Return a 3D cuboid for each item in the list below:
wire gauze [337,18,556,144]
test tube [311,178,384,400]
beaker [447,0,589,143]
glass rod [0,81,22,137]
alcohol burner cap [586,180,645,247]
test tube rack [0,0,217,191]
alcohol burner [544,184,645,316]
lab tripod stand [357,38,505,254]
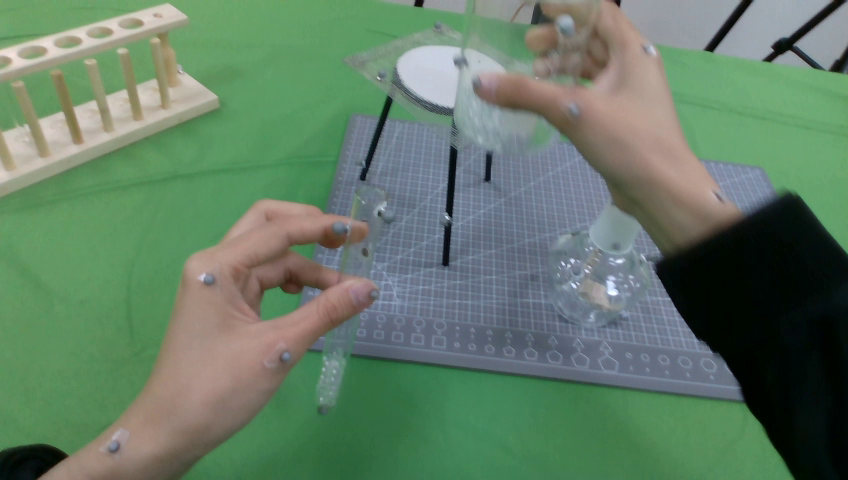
[{"bbox_3d":[0.018,-0.130,0.456,0.124,0.011,0.121,38,53,23],"label":"wire gauze"},{"bbox_3d":[-0.042,0.033,0.315,0.017,0.151,0.017,11,37,-8],"label":"test tube"},{"bbox_3d":[0.050,-0.114,0.349,0.084,0.101,0.073,-6,47,-11],"label":"beaker"},{"bbox_3d":[-0.353,-0.169,0.472,0.008,0.201,0.008,3,39,-2],"label":"glass rod"},{"bbox_3d":[0.138,-0.021,0.429,0.034,0.048,0.033,4,51,-5],"label":"alcohol burner cap"},{"bbox_3d":[-0.312,-0.129,0.533,0.066,0.086,0.242,37,52,24],"label":"test tube rack"},{"bbox_3d":[0.134,0.003,0.456,0.078,0.120,0.077,6,45,-6],"label":"alcohol burner"},{"bbox_3d":[0.013,-0.084,0.505,0.148,0.132,0.147,6,47,-6],"label":"lab tripod stand"}]
